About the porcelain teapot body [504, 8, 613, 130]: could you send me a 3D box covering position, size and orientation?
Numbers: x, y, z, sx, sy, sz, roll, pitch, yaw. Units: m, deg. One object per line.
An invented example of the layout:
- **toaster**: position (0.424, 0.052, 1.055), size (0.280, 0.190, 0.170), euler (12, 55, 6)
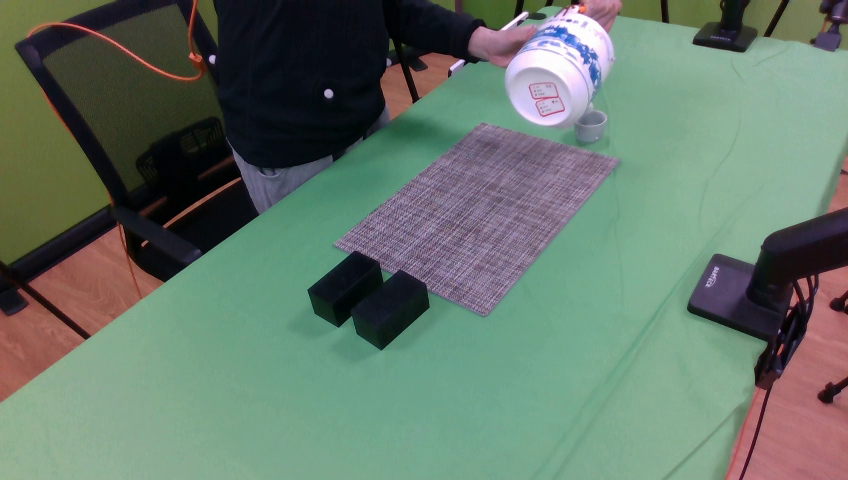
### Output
- **porcelain teapot body**: position (0.249, -0.282, 1.040), size (0.144, 0.207, 0.225), euler (11, 50, 34)

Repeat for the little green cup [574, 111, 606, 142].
- **little green cup**: position (0.318, -0.218, 1.164), size (0.061, 0.039, 0.061), euler (-3, 40, 3)

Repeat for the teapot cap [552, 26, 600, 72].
- **teapot cap**: position (0.262, -0.330, 1.041), size (0.084, 0.085, 0.044), euler (18, 51, 27)
